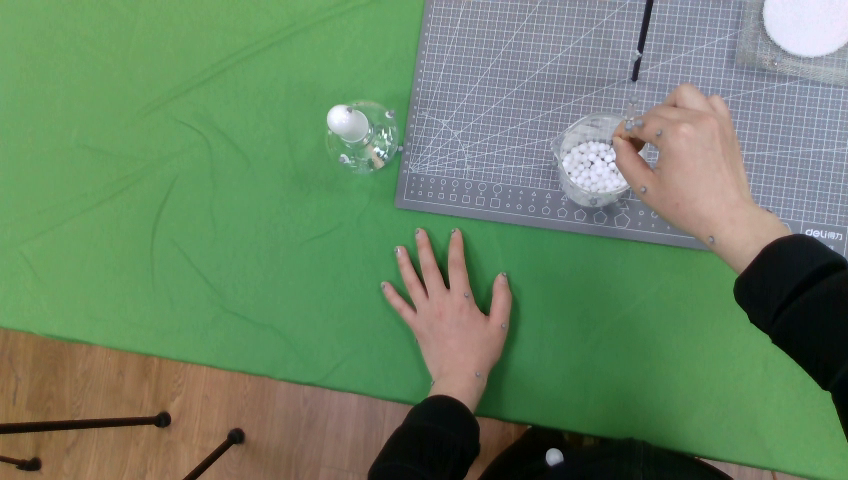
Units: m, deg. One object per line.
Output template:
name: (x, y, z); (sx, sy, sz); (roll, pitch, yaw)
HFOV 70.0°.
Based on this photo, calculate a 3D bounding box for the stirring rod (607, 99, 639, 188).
stirring rod: (0.163, -0.074, 0.501); (0.014, 0.177, 0.006); (-11, 73, 11)

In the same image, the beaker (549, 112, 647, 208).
beaker: (0.158, -0.071, 0.569); (0.084, 0.100, 0.074); (15, 88, 12)

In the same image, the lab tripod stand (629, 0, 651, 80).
lab tripod stand: (0.199, -0.239, 0.555); (0.148, 0.132, 0.148); (0, 87, 9)

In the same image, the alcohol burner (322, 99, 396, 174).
alcohol burner: (-0.070, -0.108, 0.608); (0.078, 0.119, 0.077); (-1, 84, 9)

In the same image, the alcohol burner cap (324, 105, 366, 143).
alcohol burner cap: (-0.077, -0.112, 0.573); (0.034, 0.048, 0.034); (0, 89, 10)

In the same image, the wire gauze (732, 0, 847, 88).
wire gauze: (0.371, -0.216, 0.586); (0.125, 0.011, 0.121); (13, 88, 8)
